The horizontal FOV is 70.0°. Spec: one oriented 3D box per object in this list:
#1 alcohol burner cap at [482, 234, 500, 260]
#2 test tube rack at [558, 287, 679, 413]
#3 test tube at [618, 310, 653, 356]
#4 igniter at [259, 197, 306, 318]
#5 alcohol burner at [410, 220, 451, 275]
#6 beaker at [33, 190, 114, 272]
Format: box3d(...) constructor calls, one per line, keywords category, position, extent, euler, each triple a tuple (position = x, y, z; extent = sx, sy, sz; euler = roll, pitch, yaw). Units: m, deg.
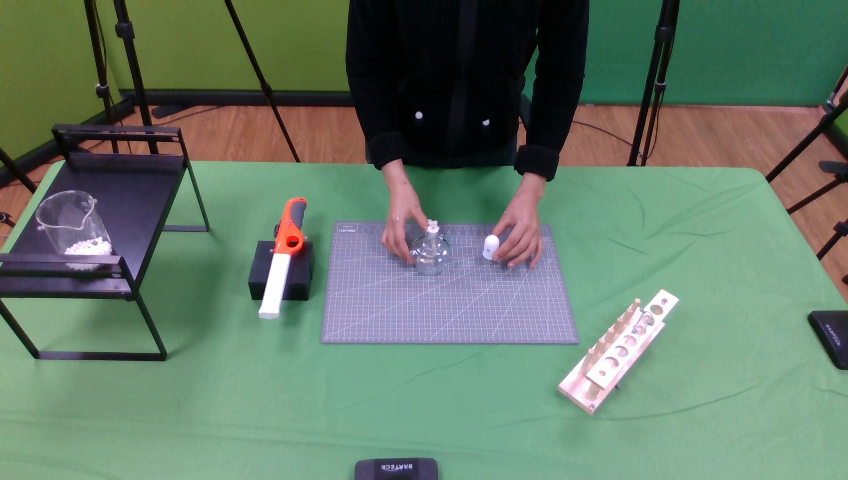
box3d(category="alcohol burner cap", position=(0.128, 0.010, 1.144), extent=(0.034, 0.048, 0.033), euler=(1, 45, -1))
box3d(category="test tube rack", position=(0.326, 0.170, 1.009), extent=(0.066, 0.085, 0.242), euler=(36, 54, 26))
box3d(category="test tube", position=(0.329, 0.156, 0.955), extent=(0.017, 0.151, 0.017), euler=(2, 51, -2))
box3d(category="igniter", position=(-0.252, 0.021, 1.088), extent=(0.057, 0.025, 0.275), euler=(4, 48, -3))
box3d(category="alcohol burner", position=(0.012, 0.008, 1.120), extent=(0.078, 0.120, 0.077), euler=(1, 47, -1))
box3d(category="beaker", position=(-0.493, -0.009, 0.864), extent=(0.083, 0.101, 0.074), euler=(37, 55, 27))
